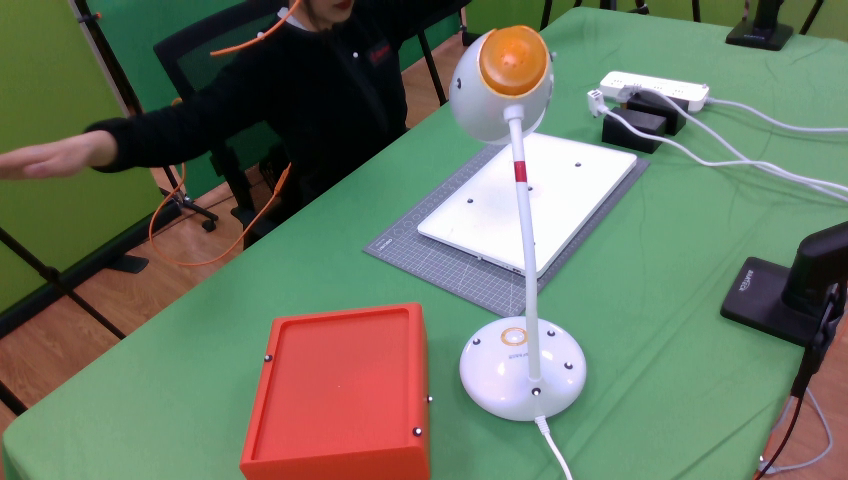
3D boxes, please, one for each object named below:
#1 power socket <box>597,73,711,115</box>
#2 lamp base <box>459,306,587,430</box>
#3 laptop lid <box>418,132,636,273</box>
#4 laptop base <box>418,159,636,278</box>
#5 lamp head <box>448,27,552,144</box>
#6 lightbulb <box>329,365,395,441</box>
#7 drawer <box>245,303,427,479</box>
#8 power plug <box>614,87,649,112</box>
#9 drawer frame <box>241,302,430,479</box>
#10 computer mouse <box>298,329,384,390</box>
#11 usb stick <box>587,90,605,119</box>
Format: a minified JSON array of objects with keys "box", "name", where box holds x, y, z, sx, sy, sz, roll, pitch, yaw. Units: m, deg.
[{"box":[0.469,-0.304,1.249,0.225,0.033,0.072,20,49,30],"name":"power socket"},{"box":[0.119,0.107,0.713,0.161,0.181,0.178,-14,42,-6],"name":"lamp base"},{"box":[0.181,-0.084,1.036,0.239,0.013,0.358,22,49,35],"name":"laptop lid"},{"box":[0.185,-0.074,1.042,0.233,0.023,0.355,19,47,35],"name":"laptop base"},{"box":[0.082,-0.161,0.618,0.112,0.112,0.123,-10,2,0],"name":"lamp head"},{"box":[-0.081,0.195,0.738,0.060,0.060,0.107,-32,61,-25],"name":"lightbulb"},{"box":[-0.097,0.183,0.743,0.194,0.073,0.210,-6,40,3],"name":"drawer"},{"box":[0.406,-0.275,1.192,0.035,0.053,0.072,-16,24,-16],"name":"power plug"},{"box":[-0.095,0.184,0.739,0.202,0.083,0.212,-7,40,3],"name":"drawer frame"},{"box":[-0.111,0.156,0.799,0.117,0.041,0.062,-15,41,1],"name":"computer mouse"},{"box":[0.334,-0.258,1.170,0.021,0.059,0.027,-28,44,-5],"name":"usb stick"}]
